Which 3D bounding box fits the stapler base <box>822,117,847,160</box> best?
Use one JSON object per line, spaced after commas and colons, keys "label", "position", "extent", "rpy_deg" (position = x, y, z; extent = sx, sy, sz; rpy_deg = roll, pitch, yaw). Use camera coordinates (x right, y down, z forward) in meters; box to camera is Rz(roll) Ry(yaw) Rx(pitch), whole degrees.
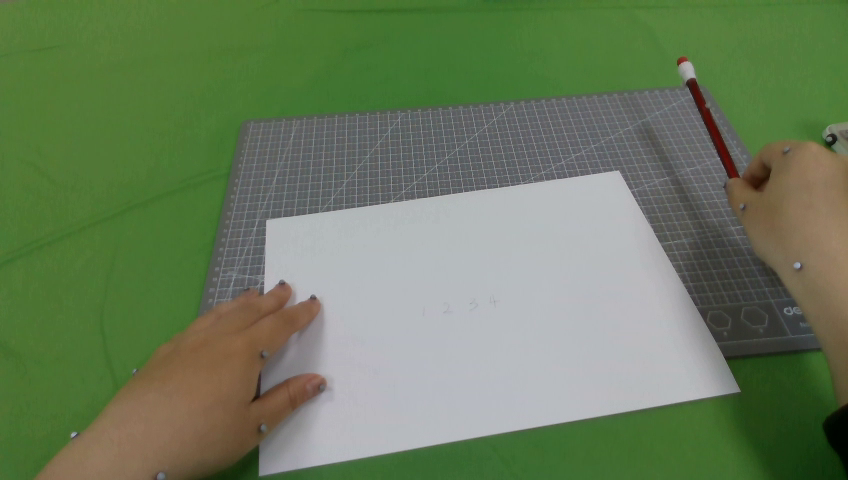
{"label": "stapler base", "position": [0.380, -0.064, 0.493], "extent": [0.041, 0.025, 0.129], "rpy_deg": [-10, 50, -2]}

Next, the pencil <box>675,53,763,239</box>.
{"label": "pencil", "position": [0.228, -0.080, 0.473], "extent": [0.012, 0.012, 0.192], "rpy_deg": [-4, 56, 0]}
